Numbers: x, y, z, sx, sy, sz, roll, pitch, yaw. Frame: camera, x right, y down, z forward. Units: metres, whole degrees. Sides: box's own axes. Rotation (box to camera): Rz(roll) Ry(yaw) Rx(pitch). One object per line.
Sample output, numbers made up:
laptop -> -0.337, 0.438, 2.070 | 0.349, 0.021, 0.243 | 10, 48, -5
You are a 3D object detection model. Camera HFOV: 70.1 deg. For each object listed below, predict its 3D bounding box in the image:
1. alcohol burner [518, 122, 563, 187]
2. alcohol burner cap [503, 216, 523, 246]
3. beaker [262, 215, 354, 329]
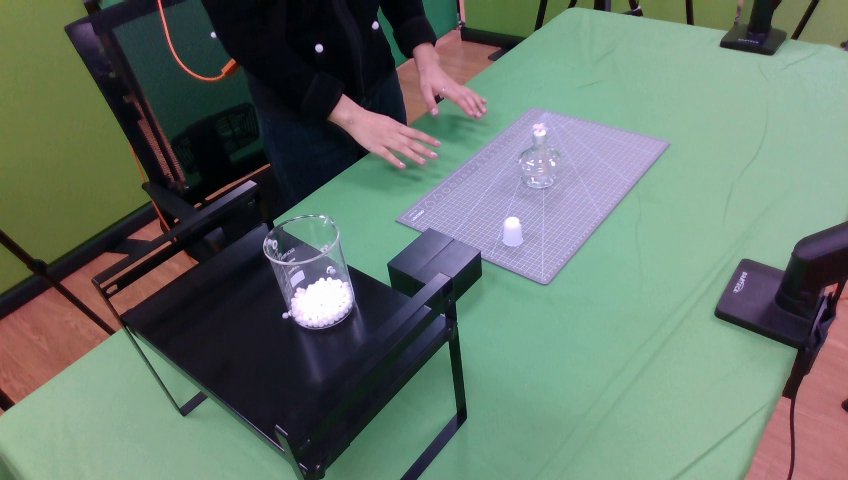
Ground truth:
alcohol burner -> 0.201, -0.151, 1.046 | 0.078, 0.119, 0.077 | -5, 42, 5
alcohol burner cap -> 0.140, -0.017, 0.954 | 0.034, 0.048, 0.033 | -4, 42, 4
beaker -> -0.112, 0.034, 0.616 | 0.073, 0.101, 0.084 | 13, 44, 23
